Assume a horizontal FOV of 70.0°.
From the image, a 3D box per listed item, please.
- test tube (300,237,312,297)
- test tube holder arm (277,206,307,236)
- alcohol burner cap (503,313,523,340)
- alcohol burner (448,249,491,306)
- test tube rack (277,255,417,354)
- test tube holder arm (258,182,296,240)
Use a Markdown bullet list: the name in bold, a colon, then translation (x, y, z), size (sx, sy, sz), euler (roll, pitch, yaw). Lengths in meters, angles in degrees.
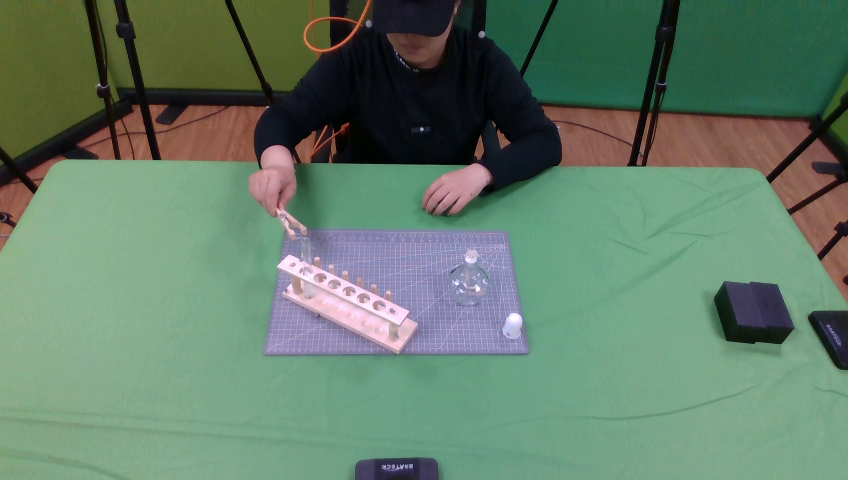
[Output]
- **test tube**: translation (-0.198, 0.049, 1.019), size (0.017, 0.151, 0.017), euler (4, 48, -5)
- **test tube holder arm**: translation (-0.238, -0.034, 1.076), size (0.087, 0.015, 0.010), euler (34, 47, 31)
- **alcohol burner cap**: translation (0.156, 0.147, 1.051), size (0.034, 0.048, 0.033), euler (1, 46, -1)
- **alcohol burner**: translation (0.081, 0.062, 1.078), size (0.078, 0.120, 0.077), euler (1, 45, -1)
- **test tube rack**: translation (-0.131, 0.099, 1.045), size (0.241, 0.085, 0.066), euler (23, 49, 17)
- **test tube holder arm**: translation (-0.269, -0.056, 1.100), size (0.013, 0.015, 0.177), euler (-18, 44, -27)
